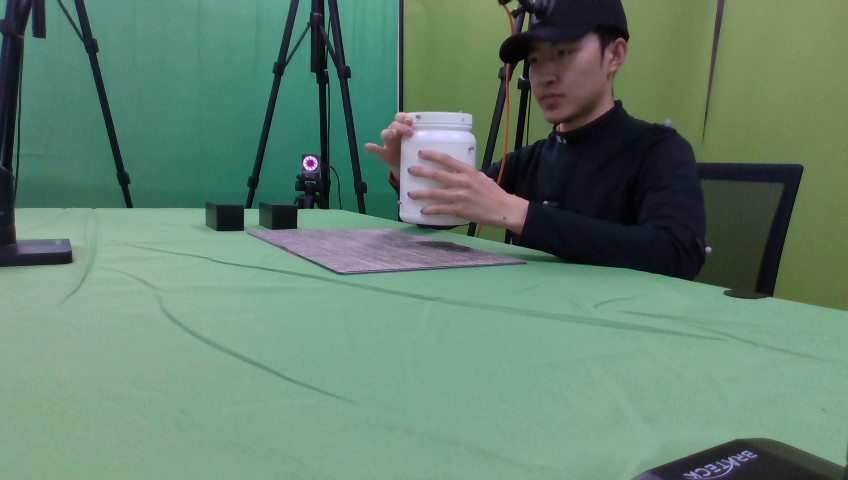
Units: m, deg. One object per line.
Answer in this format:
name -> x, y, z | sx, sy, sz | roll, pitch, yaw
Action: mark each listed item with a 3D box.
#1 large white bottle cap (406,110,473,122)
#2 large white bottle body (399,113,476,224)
large white bottle cap -> 0.026, -0.209, 1.027 | 0.115, 0.018, 0.115 | 0, 9, 0
large white bottle body -> 0.023, -0.126, 1.040 | 0.131, 0.184, 0.130 | 1, 9, 0
